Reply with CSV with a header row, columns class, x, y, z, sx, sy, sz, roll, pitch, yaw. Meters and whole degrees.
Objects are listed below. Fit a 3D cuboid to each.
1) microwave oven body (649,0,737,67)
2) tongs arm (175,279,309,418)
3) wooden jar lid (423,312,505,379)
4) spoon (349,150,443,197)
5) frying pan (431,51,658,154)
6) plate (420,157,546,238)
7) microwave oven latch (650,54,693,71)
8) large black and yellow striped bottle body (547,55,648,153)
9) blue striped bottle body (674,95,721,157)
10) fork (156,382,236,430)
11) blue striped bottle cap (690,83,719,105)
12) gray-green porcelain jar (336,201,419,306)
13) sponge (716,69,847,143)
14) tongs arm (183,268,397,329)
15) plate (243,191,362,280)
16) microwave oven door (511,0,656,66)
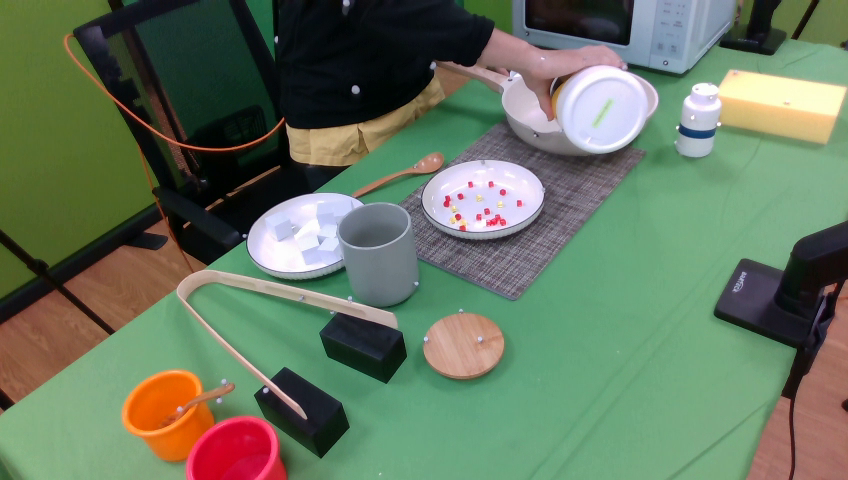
class,x,y,z,sx,sy,sz,roll,pitch,yaw
microwave oven body,0.475,-0.602,1.411,0.438,0.261,0.327,23,50,32
tongs arm,-0.255,0.132,0.800,0.028,0.028,0.384,-41,40,-23
wooden jar lid,0.053,0.142,0.800,0.108,0.021,0.108,-5,39,4
spoon,-0.051,-0.123,1.120,0.194,0.022,0.041,-23,60,-18
frying pan,0.216,-0.302,1.223,0.484,0.103,0.308,29,50,24
plate,0.099,-0.067,1.017,0.209,0.038,0.208,-4,40,4
microwave oven latch,0.531,-0.386,1.301,0.078,0.029,0.030,26,51,33
large black and yellow striped bottle body,0.276,-0.231,0.996,0.131,0.131,0.183,-6,27,2
blue striped bottle body,0.486,-0.213,1.072,0.063,0.121,0.063,-4,41,4
fork,-0.262,0.189,0.690,0.018,0.206,0.028,49,43,-7
blue striped bottle cap,0.481,-0.251,1.038,0.044,0.021,0.044,-5,40,5
gray-green porcelain jar,-0.064,0.024,0.872,0.106,0.127,0.105,-4,41,4
sponge,0.663,-0.256,1.141,0.205,0.061,0.118,19,47,28
tongs arm,-0.203,0.084,0.847,0.382,0.027,0.051,11,44,34
plate,-0.187,-0.005,0.992,0.207,0.039,0.206,-4,41,4
microwave oven door,0.350,-0.539,1.349,0.353,0.245,0.039,24,50,31
